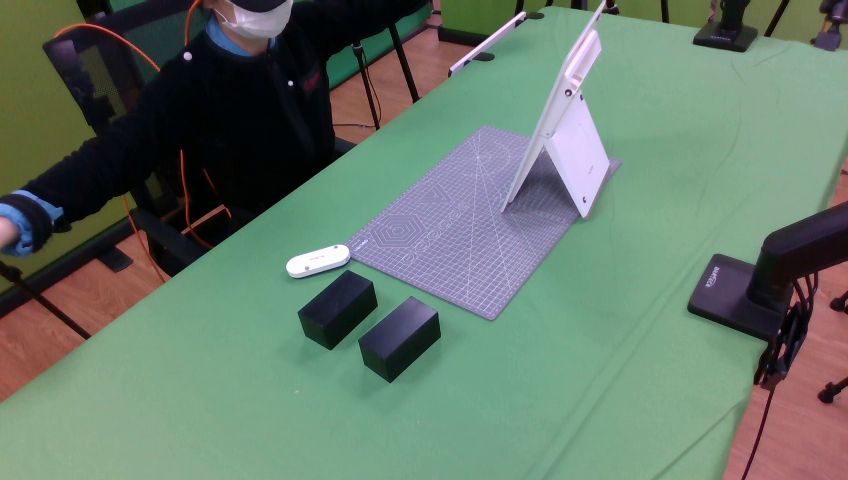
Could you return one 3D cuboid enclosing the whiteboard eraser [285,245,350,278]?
[{"bbox_3d":[-0.168,0.033,0.954,0.101,0.019,0.041,-15,41,-9],"label":"whiteboard eraser"}]

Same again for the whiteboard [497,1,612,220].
[{"bbox_3d":[0.260,-0.178,0.963,0.143,0.306,0.217,28,49,9],"label":"whiteboard"}]
